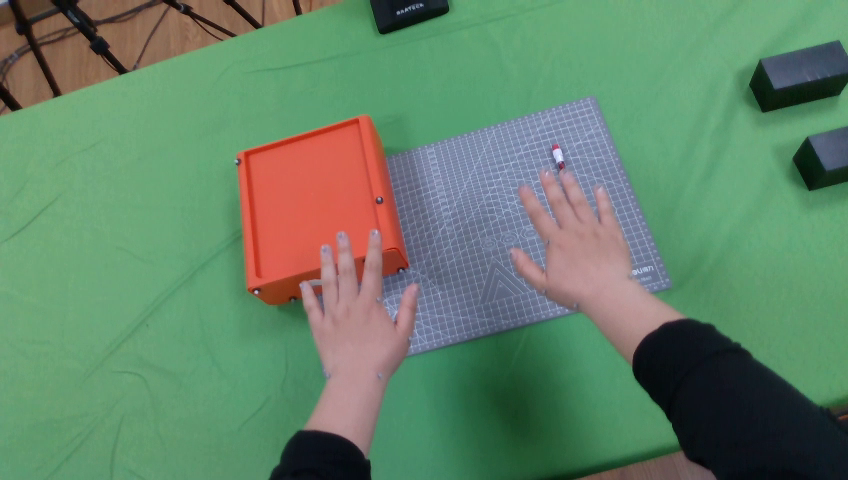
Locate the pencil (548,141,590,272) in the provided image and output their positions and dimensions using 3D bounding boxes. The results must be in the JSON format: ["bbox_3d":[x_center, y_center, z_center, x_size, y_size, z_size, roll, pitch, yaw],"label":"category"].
[{"bbox_3d":[0.192,-0.047,0.799,0.012,0.012,0.192,-13,68,6],"label":"pencil"}]

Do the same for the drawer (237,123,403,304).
[{"bbox_3d":[-0.145,-0.038,0.823,0.194,0.074,0.210,-16,64,6],"label":"drawer"}]

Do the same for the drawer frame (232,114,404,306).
[{"bbox_3d":[-0.147,-0.040,0.824,0.201,0.083,0.211,-17,64,5],"label":"drawer frame"}]
